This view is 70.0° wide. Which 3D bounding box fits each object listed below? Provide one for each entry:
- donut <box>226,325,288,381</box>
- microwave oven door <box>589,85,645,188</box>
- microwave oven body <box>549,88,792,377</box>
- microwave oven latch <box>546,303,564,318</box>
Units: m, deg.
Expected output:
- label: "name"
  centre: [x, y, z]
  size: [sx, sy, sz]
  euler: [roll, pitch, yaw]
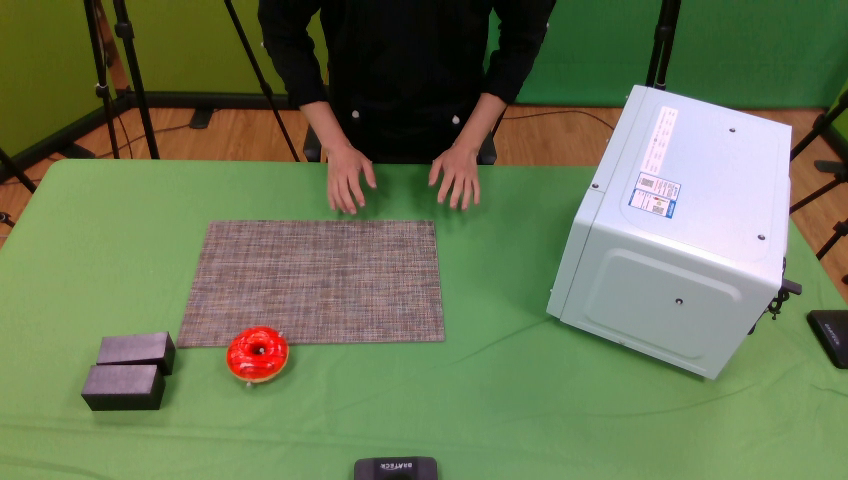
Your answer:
- label: "donut"
  centre: [-0.270, 0.182, 0.984]
  size: [0.099, 0.048, 0.098]
  euler: [5, 49, -5]
- label: "microwave oven door"
  centre: [0.342, -0.107, 1.149]
  size: [0.039, 0.245, 0.354]
  euler: [20, 48, 15]
- label: "microwave oven body"
  centre: [0.456, -0.028, 1.088]
  size: [0.325, 0.261, 0.440]
  euler: [20, 47, 16]
- label: "microwave oven latch"
  centre: [0.242, 0.102, 1.081]
  size: [0.030, 0.029, 0.079]
  euler: [22, 48, 17]
